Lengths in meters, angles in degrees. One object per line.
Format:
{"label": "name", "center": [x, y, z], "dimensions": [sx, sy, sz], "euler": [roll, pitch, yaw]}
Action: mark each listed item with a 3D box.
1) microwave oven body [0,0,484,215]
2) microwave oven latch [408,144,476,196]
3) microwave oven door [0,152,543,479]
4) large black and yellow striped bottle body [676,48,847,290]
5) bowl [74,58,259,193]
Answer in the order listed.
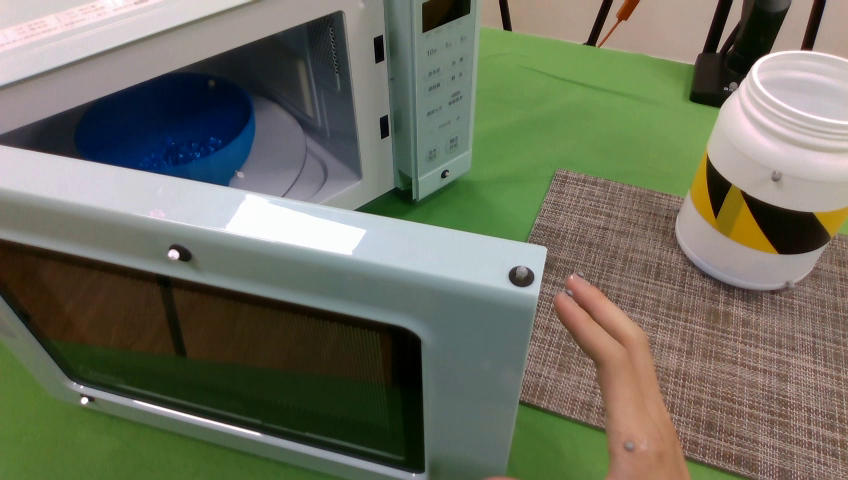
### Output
{"label": "microwave oven body", "center": [-0.213, -0.142, 0.571], "dimensions": [0.442, 0.262, 0.322], "euler": [-32, 54, -26]}
{"label": "microwave oven latch", "center": [0.020, -0.079, 0.643], "dimensions": [0.079, 0.030, 0.030], "euler": [-31, 54, -25]}
{"label": "microwave oven door", "center": [-0.117, 0.063, 0.365], "dimensions": [0.355, 0.246, 0.039], "euler": [10, 47, 11]}
{"label": "large black and yellow striped bottle body", "center": [0.314, -0.059, 0.537], "dimensions": [0.131, 0.185, 0.129], "euler": [0, 46, 1]}
{"label": "bowl", "center": [-0.219, -0.084, 0.547], "dimensions": [0.151, 0.077, 0.150], "euler": [1, 57, -1]}
